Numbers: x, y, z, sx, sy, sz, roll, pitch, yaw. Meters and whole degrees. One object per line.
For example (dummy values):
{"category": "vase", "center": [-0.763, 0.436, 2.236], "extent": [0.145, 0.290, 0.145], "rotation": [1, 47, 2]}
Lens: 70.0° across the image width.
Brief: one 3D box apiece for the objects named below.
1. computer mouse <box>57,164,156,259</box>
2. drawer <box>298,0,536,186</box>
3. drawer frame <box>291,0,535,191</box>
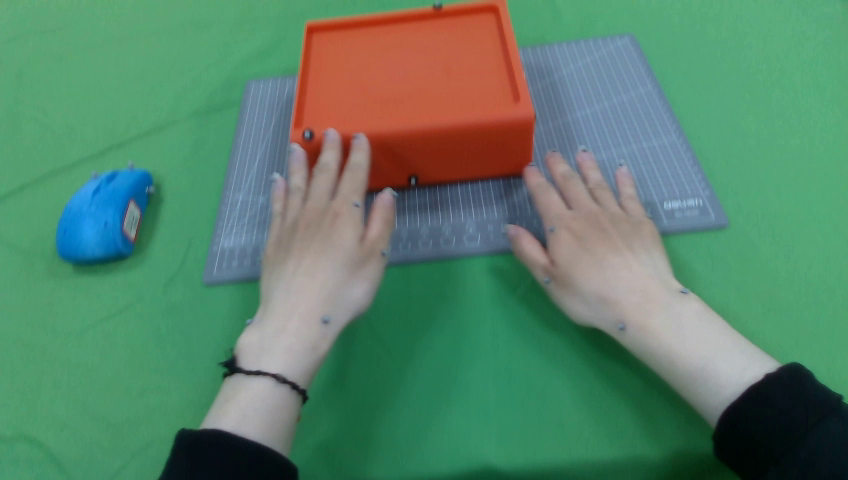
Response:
{"category": "computer mouse", "center": [-0.299, -0.033, 0.574], "extent": [0.063, 0.041, 0.116], "rotation": [-7, 46, 3]}
{"category": "drawer", "center": [-0.007, -0.150, 0.599], "extent": [0.212, 0.074, 0.192], "rotation": [-6, 51, 3]}
{"category": "drawer frame", "center": [-0.009, -0.151, 0.599], "extent": [0.213, 0.083, 0.199], "rotation": [-7, 51, 3]}
